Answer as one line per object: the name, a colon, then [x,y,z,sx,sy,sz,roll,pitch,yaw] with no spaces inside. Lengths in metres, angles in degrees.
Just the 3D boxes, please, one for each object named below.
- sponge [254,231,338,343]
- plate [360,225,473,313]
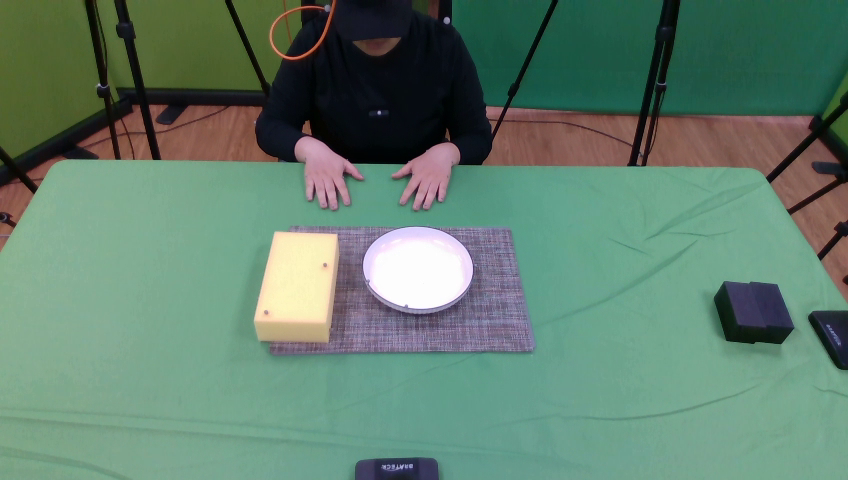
sponge: [-0.221,0.079,1.073,0.118,0.061,0.205,1,46,-3]
plate: [-0.014,0.057,1.126,0.208,0.039,0.206,2,46,-2]
